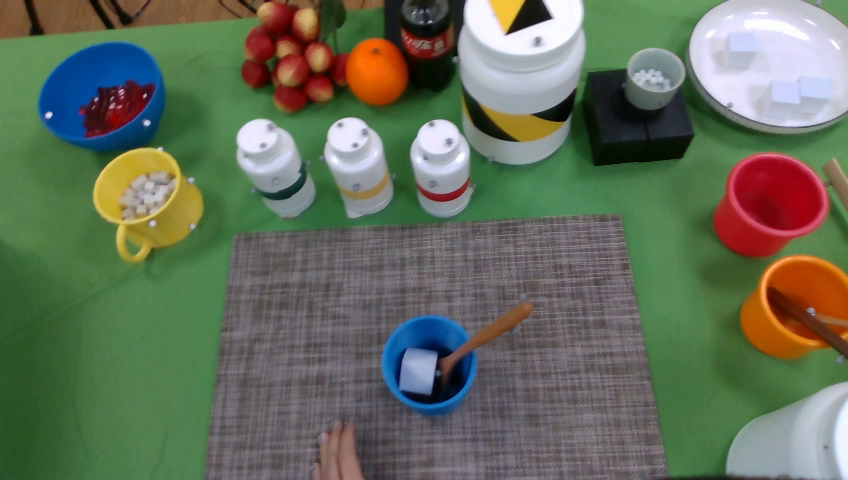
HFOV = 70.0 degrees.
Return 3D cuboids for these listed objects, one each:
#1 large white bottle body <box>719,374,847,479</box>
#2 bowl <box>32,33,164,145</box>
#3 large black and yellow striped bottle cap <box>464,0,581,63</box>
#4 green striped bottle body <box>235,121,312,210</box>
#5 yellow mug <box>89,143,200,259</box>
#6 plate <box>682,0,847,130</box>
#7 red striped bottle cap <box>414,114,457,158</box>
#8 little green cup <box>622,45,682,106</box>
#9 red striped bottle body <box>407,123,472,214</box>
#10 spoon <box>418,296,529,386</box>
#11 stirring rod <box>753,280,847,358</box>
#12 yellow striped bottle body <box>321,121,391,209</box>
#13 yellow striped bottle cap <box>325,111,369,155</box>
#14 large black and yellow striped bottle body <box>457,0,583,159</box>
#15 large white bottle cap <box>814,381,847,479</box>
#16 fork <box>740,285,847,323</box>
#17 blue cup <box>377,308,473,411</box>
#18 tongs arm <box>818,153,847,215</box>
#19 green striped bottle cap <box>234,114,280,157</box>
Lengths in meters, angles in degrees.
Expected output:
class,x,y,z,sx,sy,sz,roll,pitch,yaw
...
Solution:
class,x,y,z,sx,sy,sz,roll,pitch,yaw
large white bottle body,0.334,0.182,0.485,0.130,0.186,0.129,-2,65,4
bowl,-0.389,-0.173,0.758,0.151,0.077,0.150,-1,66,3
large black and yellow striped bottle cap,0.096,-0.224,0.595,0.115,0.019,0.114,-2,64,4
green striped bottle body,-0.170,-0.088,0.680,0.063,0.120,0.062,-1,65,4
yellow mug,-0.326,-0.040,0.700,0.100,0.064,0.130,7,67,6
plate,0.420,-0.218,0.742,0.209,0.038,0.207,-1,66,3
red striped bottle cap,0.012,-0.107,0.618,0.044,0.018,0.044,0,64,0
little green cup,0.253,-0.184,0.683,0.061,0.039,0.061,-1,64,2
red striped bottle body,0.018,-0.083,0.665,0.063,0.121,0.062,-4,63,7
spoon,0.034,0.098,0.544,0.022,0.194,0.041,7,56,-26
stirring rod,0.358,0.076,0.557,0.014,0.006,0.175,-9,22,-1
yellow striped bottle body,-0.076,-0.089,0.674,0.063,0.121,0.062,-2,65,5
yellow striped bottle cap,-0.080,-0.111,0.627,0.044,0.019,0.044,-1,67,3
large black and yellow striped bottle body,0.103,-0.190,0.672,0.131,0.185,0.129,-2,65,4
large white bottle cap,0.327,0.145,0.408,0.115,0.018,0.114,-1,65,3
fork,0.386,0.076,0.549,0.028,0.019,0.205,-36,24,-17
blue cup,0.003,0.123,0.577,0.092,0.101,0.092,-1,63,2
tongs arm,0.511,0.072,0.604,0.051,0.027,0.381,-11,66,-5
green striped bottle cap,-0.175,-0.109,0.633,0.044,0.020,0.044,-1,64,3
